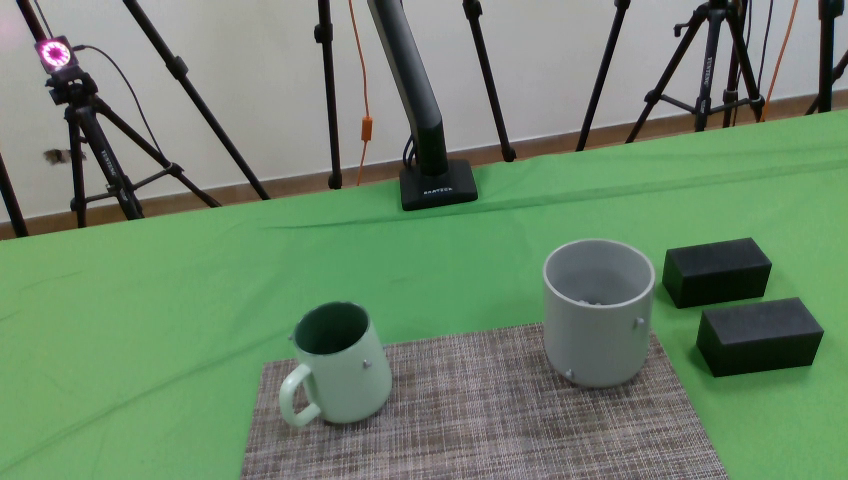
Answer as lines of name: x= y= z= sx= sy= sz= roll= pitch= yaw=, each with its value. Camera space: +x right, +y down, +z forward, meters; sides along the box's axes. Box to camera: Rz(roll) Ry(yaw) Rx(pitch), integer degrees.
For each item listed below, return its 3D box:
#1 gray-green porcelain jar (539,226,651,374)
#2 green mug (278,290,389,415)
gray-green porcelain jar: x=0.172 y=0.065 z=0.622 sx=0.106 sy=0.128 sz=0.105 roll=-6 pitch=38 yaw=5
green mug: x=-0.098 y=0.125 z=0.622 sx=0.092 sy=0.106 sz=0.125 roll=20 pitch=47 yaw=32
